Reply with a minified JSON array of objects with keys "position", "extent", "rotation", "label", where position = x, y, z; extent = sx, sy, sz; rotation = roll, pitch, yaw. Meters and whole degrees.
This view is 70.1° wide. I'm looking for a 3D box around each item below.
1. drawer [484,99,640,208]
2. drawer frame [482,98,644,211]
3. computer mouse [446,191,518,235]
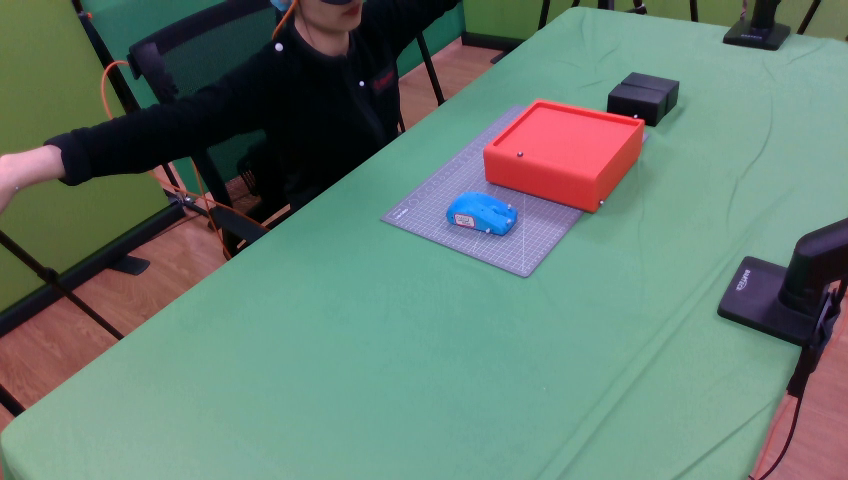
[{"position":[0.244,-0.158,1.073],"extent":[0.210,0.073,0.195],"rotation":[22,48,31],"label":"drawer"},{"position":[0.246,-0.158,1.071],"extent":[0.212,0.083,0.202],"rotation":[21,48,30],"label":"drawer frame"},{"position":[0.096,-0.048,1.004],"extent":[0.116,0.041,0.063],"rotation":[18,45,23],"label":"computer mouse"}]
